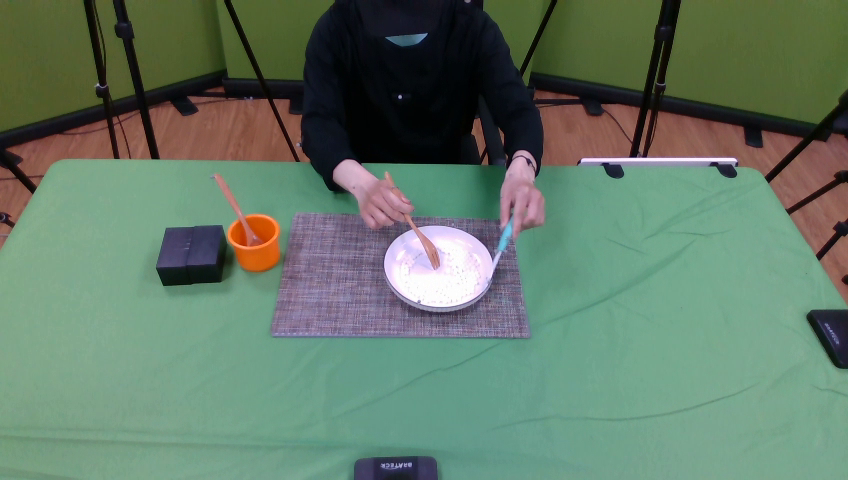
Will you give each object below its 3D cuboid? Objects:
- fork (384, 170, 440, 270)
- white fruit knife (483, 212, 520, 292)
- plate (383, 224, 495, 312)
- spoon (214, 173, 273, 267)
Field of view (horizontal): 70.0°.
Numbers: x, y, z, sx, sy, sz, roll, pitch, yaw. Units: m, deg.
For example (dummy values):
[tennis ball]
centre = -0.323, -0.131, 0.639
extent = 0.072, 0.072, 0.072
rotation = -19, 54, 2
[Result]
[fork]
centre = -0.022, -0.037, 1.127
extent = 0.028, 0.018, 0.207
rotation = -35, 97, -42
[white fruit knife]
centre = 0.136, 0.017, 1.065
extent = 0.016, 0.027, 0.206
rotation = 30, 49, -2
[plate]
centre = 0.026, 0.055, 1.128
extent = 0.209, 0.038, 0.208
rotation = 2, 46, -2
[spoon]
centre = -0.336, -0.037, 1.121
extent = 0.041, 0.194, 0.021
rotation = -29, 10, -25
